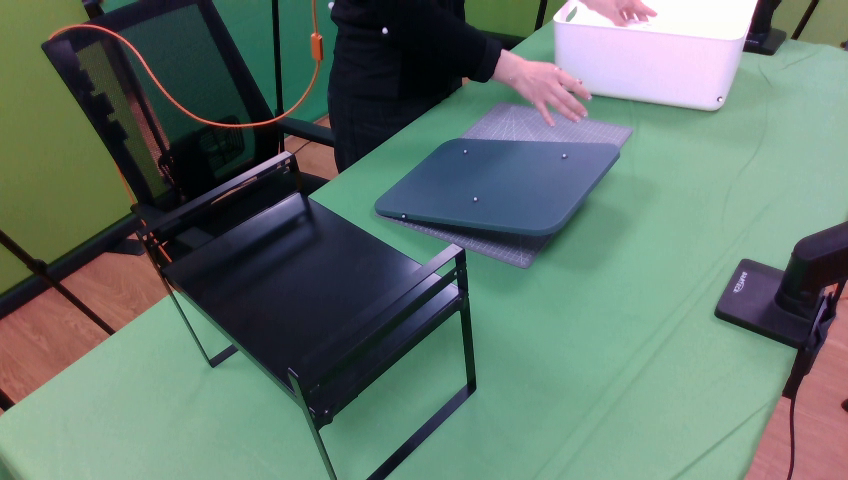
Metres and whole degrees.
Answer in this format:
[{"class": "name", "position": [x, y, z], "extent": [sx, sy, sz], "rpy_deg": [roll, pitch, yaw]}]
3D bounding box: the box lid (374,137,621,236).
[{"class": "box lid", "position": [0.114, -0.103, 1.024], "extent": [0.368, 0.015, 0.264], "rpy_deg": [10, 41, 39]}]

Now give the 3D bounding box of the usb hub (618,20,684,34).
[{"class": "usb hub", "position": [0.469, -0.428, 1.254], "extent": [0.124, 0.025, 0.049], "rpy_deg": [24, 49, 29]}]

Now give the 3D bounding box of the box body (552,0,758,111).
[{"class": "box body", "position": [0.480, -0.417, 1.282], "extent": [0.362, 0.161, 0.254], "rpy_deg": [16, 46, 25]}]
